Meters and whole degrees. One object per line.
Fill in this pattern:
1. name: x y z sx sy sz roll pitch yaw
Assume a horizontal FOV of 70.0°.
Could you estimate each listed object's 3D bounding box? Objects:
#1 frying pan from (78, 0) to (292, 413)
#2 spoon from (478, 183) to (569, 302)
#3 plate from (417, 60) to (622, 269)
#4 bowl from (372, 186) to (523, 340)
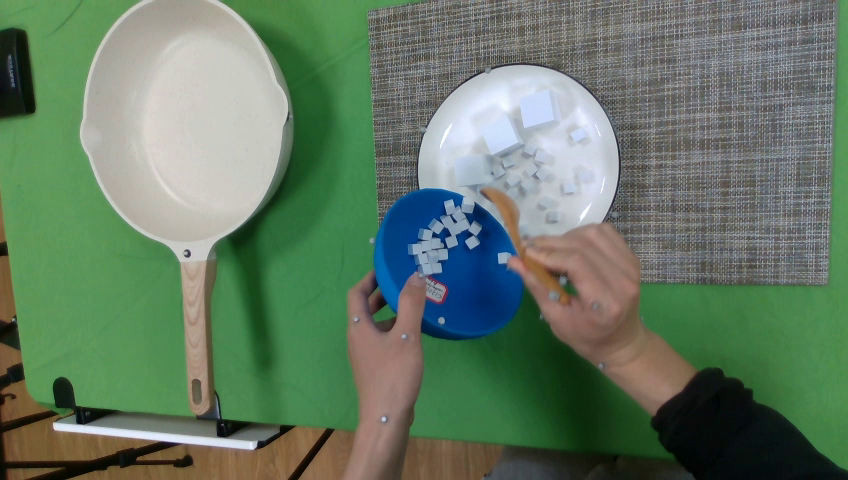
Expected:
1. frying pan: -0.279 -0.038 0.731 0.305 0.103 0.487 -2 88 21
2. spoon: 0.079 -0.002 0.493 0.042 0.191 0.021 35 109 -26
3. plate: 0.095 -0.075 0.619 0.207 0.039 0.208 2 97 20
4. bowl: 0.010 0.033 0.575 0.151 0.151 0.077 54 140 7
